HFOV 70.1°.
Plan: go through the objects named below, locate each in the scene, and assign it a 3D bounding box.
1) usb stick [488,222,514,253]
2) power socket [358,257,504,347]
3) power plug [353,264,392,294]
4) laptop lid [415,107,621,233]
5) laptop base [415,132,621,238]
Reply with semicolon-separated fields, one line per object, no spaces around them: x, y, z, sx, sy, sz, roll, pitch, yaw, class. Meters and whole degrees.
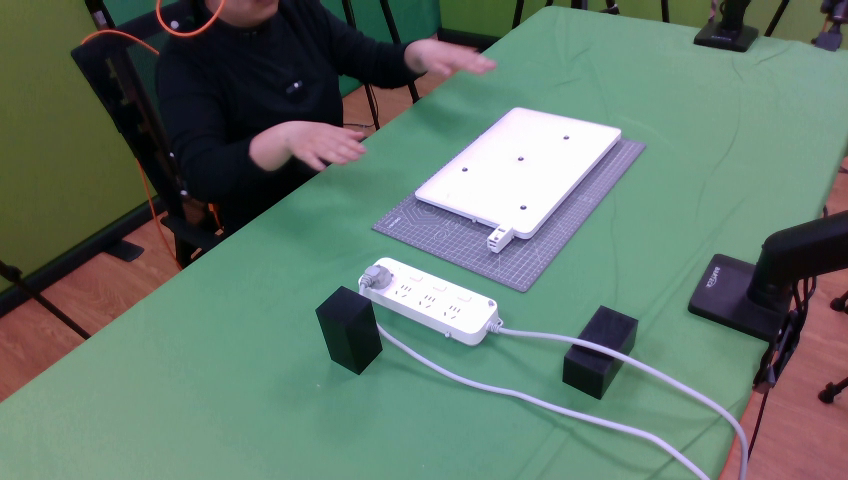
0.124;-0.008;0.944;0.021;0.027;0.059;25;47;31;usb stick
0.003;0.084;0.862;0.225;0.033;0.072;21;50;29;power socket
-0.078;0.063;0.867;0.073;0.053;0.035;-37;48;-26;power plug
0.175;-0.144;1.094;0.239;0.013;0.358;23;49;33;laptop lid
0.178;-0.134;1.101;0.233;0.023;0.355;20;47;33;laptop base
